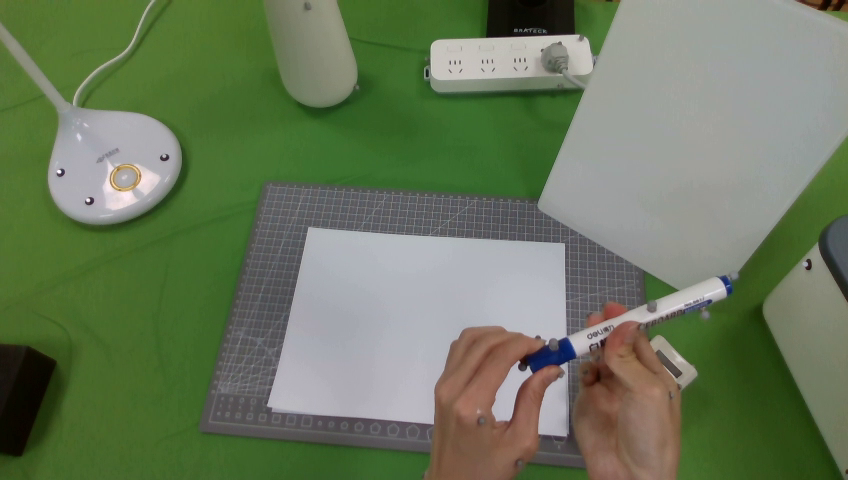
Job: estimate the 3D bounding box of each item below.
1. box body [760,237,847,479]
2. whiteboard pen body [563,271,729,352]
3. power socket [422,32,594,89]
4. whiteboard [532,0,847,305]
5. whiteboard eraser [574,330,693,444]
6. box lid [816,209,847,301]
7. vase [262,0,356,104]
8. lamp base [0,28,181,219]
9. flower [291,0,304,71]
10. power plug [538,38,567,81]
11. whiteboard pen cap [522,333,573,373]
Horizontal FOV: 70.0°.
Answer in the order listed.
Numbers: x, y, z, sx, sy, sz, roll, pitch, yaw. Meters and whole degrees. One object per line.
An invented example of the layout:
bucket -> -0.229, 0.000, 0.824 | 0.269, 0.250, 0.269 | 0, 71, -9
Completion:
box body -> 0.498, 0.147, 0.517 | 0.254, 0.161, 0.360 | -13, 63, -4
whiteboard pen body -> 0.139, 0.053, 0.410 | 0.141, 0.017, 0.017 | -22, 64, 0
power socket -> 0.110, -0.236, 0.796 | 0.227, 0.033, 0.071 | -1, 64, 1
whiteboard -> 0.280, -0.123, 0.615 | 0.216, 0.307, 0.143 | 33, 48, 18
whiteboard eraser -> 0.204, 0.143, 0.593 | 0.112, 0.042, 0.055 | -36, 66, -15
box lid -> 0.495, 0.110, 0.451 | 0.263, 0.015, 0.368 | -13, 64, -4
vase -> -0.141, -0.256, 0.721 | 0.098, 0.201, 0.097 | -1, 62, 3
lamp base -> -0.393, -0.138, 0.680 | 0.178, 0.182, 0.160 | 35, 69, 21
flower -> -0.126, -0.285, 0.644 | 0.044, 0.362, 0.038 | -35, 84, -24
power plug -> 0.160, -0.220, 0.761 | 0.035, 0.053, 0.072 | 9, 70, 6
whiteboard pen cap -> 0.084, 0.076, 0.410 | 0.033, 0.018, 0.018 | -25, 64, -7
